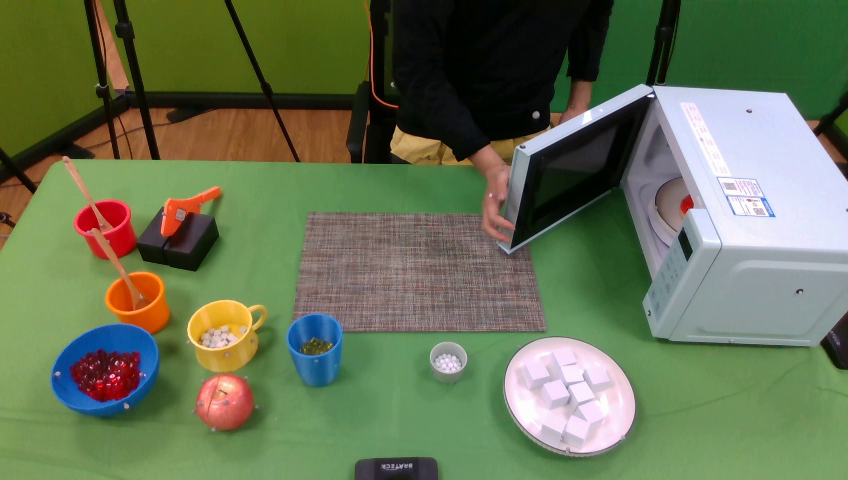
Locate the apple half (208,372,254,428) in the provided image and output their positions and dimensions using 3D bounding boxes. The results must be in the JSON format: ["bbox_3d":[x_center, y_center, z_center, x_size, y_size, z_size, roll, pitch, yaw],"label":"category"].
[{"bbox_3d":[-0.282,0.244,0.908,0.053,0.075,0.080,7,43,-1],"label":"apple half"}]

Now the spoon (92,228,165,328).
[{"bbox_3d":[-0.496,0.063,1.014,0.041,0.194,0.021,-34,12,-32],"label":"spoon"}]

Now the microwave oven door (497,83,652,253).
[{"bbox_3d":[0.296,-0.143,1.179,0.356,0.245,0.039,-29,55,-28],"label":"microwave oven door"}]

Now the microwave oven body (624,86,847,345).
[{"bbox_3d":[0.567,-0.053,1.118,0.326,0.261,0.439,2,45,-1],"label":"microwave oven body"}]

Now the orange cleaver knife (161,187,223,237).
[{"bbox_3d":[-0.448,-0.059,1.180,0.012,0.077,0.211,13,17,6],"label":"orange cleaver knife"}]

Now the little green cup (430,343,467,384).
[{"bbox_3d":[0.039,0.203,0.993,0.061,0.039,0.061,2,46,-2],"label":"little green cup"}]

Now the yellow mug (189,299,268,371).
[{"bbox_3d":[-0.316,0.148,1.002,0.131,0.064,0.099,-33,56,-31],"label":"yellow mug"}]

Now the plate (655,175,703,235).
[{"bbox_3d":[0.555,-0.047,1.182,0.209,0.038,0.208,1,45,-1],"label":"plate"}]

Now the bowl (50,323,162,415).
[{"bbox_3d":[-0.472,0.209,0.924,0.151,0.077,0.150,2,45,-2],"label":"bowl"}]

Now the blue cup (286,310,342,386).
[{"bbox_3d":[-0.169,0.179,0.958,0.093,0.101,0.092,1,44,-1],"label":"blue cup"}]

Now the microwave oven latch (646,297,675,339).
[{"bbox_3d":[0.412,0.134,1.061,0.030,0.029,0.078,4,45,1],"label":"microwave oven latch"}]

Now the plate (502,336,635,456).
[{"bbox_3d":[0.225,0.248,0.963,0.208,0.039,0.206,2,46,-2],"label":"plate"}]

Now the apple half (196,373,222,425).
[{"bbox_3d":[-0.322,0.239,0.907,0.033,0.081,0.081,7,46,-1],"label":"apple half"}]

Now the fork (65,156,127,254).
[{"bbox_3d":[-0.614,-0.064,1.131,0.028,0.018,0.207,-29,97,-17],"label":"fork"}]
